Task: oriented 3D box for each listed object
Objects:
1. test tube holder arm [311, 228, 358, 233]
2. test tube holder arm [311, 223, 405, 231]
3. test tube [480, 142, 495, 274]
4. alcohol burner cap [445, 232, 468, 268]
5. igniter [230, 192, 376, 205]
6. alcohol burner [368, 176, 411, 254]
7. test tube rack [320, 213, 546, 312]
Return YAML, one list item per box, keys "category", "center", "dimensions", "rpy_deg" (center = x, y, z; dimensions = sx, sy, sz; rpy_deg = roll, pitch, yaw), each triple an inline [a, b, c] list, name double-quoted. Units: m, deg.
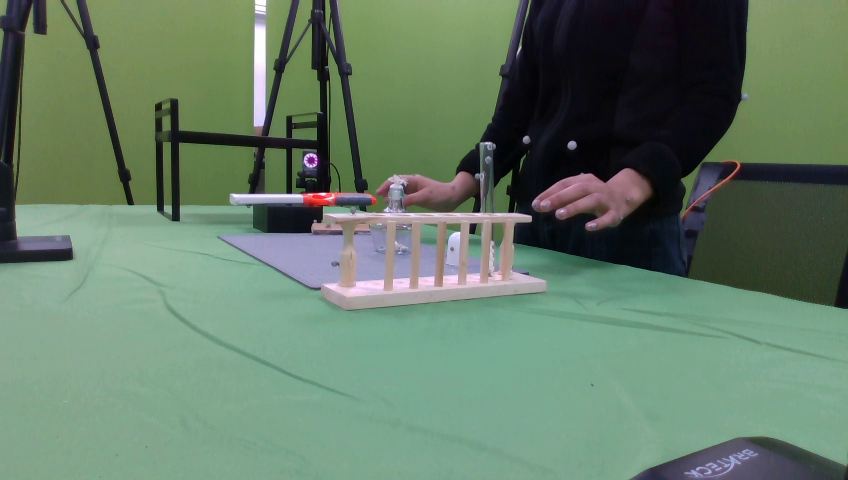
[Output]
- category: "test tube holder arm"
  center: [-0.163, -0.021, 1.102]
  dimensions: [0.088, 0.015, 0.010]
  rpy_deg: [-2, -21, -23]
- category: "test tube holder arm"
  center: [-0.119, -0.024, 1.116]
  dimensions: [0.179, 0.015, 0.013]
  rpy_deg: [-2, -21, -23]
- category: "test tube"
  center: [0.072, -0.036, 0.685]
  dimensions: [0.017, 0.150, 0.017]
  rpy_deg: [-1, 5, 0]
- category: "alcohol burner cap"
  center: [0.045, 0.013, 0.829]
  dimensions: [0.034, 0.048, 0.034]
  rpy_deg: [2, 8, 0]
- category: "igniter"
  center: [-0.226, -0.079, 1.161]
  dimensions: [0.278, 0.025, 0.057]
  rpy_deg: [-2, 15, -28]
- category: "alcohol burner"
  center: [-0.045, -0.038, 0.913]
  dimensions: [0.078, 0.119, 0.078]
  rpy_deg: [5, 7, 0]
- category: "test tube rack"
  center: [0.017, 0.017, 0.638]
  dimensions: [0.244, 0.085, 0.066]
  rpy_deg: [-2, 9, -31]
